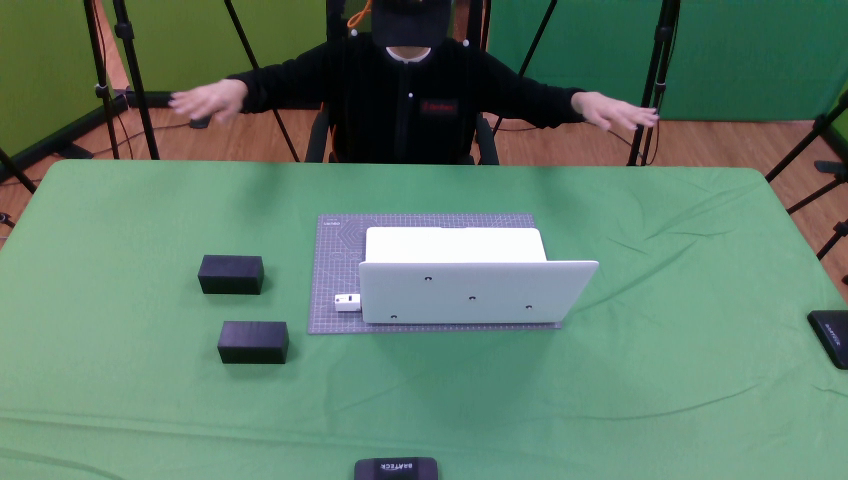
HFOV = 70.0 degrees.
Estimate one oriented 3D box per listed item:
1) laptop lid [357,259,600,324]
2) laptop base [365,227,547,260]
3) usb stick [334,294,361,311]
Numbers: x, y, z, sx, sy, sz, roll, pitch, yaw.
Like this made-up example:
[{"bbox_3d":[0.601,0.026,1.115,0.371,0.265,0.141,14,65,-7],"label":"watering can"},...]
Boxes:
[{"bbox_3d":[0.075,0.087,0.959,0.357,0.242,0.013,1,60,-5],"label":"laptop lid"},{"bbox_3d":[0.064,0.062,1.144,0.355,0.023,0.234,0,43,-4],"label":"laptop base"},{"bbox_3d":[-0.128,0.110,1.066,0.059,0.027,0.021,1,45,-5],"label":"usb stick"}]
